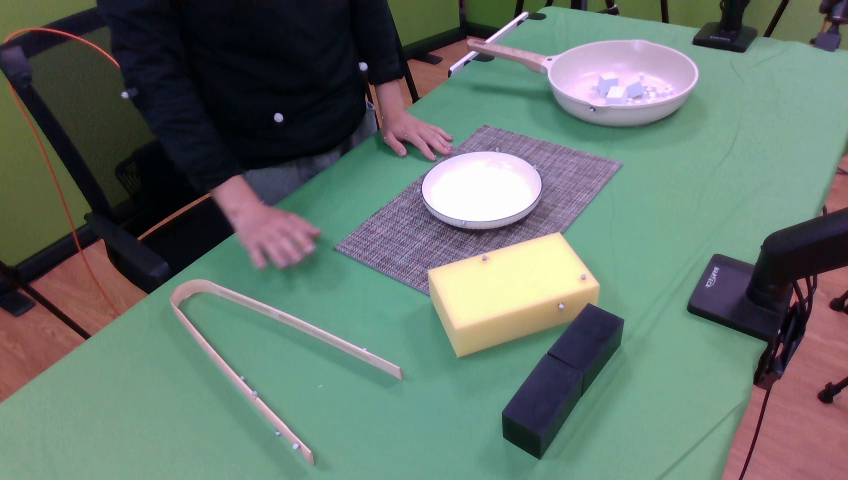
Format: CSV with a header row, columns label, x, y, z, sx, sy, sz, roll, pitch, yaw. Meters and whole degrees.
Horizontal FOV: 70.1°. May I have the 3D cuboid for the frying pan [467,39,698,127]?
label,x,y,z,sx,sy,sz,roll,pitch,yaw
frying pan,0.312,-0.359,1.277,0.485,0.103,0.307,23,48,19

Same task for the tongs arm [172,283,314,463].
label,x,y,z,sx,sy,sz,roll,pitch,yaw
tongs arm,-0.246,0.161,0.806,0.381,0.026,0.051,29,51,36

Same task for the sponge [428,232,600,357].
label,x,y,z,sx,sy,sz,roll,pitch,yaw
sponge,0.120,0.071,0.834,0.207,0.061,0.117,-15,43,-12

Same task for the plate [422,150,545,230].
label,x,y,z,sx,sy,sz,roll,pitch,yaw
plate,0.101,-0.082,1.031,0.207,0.039,0.206,-4,40,4

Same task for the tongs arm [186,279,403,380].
label,x,y,z,sx,sy,sz,roll,pitch,yaw
tongs arm,-0.193,0.120,0.853,0.385,0.028,0.028,18,49,27
